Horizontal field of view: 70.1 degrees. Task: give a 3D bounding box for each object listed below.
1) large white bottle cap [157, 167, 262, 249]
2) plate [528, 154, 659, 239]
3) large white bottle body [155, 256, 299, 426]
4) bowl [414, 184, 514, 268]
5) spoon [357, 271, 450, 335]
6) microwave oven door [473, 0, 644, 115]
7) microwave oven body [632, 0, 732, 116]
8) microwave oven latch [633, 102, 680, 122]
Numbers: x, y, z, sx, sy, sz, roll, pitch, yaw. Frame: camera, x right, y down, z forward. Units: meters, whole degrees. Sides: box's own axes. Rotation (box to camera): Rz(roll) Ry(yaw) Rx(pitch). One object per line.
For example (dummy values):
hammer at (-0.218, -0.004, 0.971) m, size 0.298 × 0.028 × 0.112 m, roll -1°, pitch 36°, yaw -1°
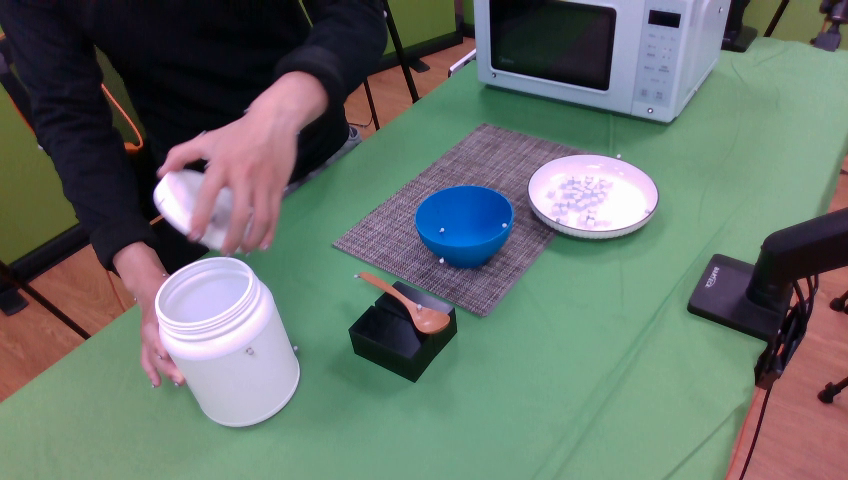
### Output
large white bottle cap at (-0.227, -0.035, 0.646) m, size 0.018 × 0.116 × 0.114 m, roll -49°, pitch 40°, yaw 15°
plate at (0.274, -0.069, 0.993) m, size 0.209 × 0.038 × 0.208 m, roll -2°, pitch 42°, yaw 2°
large white bottle body at (-0.236, 0.122, 0.732) m, size 0.130 × 0.185 × 0.130 m, roll -4°, pitch 40°, yaw 4°
bowl at (0.063, -0.010, 0.923) m, size 0.151 × 0.077 × 0.150 m, roll -4°, pitch 40°, yaw 4°
spoon at (-0.033, 0.078, 0.812) m, size 0.042 × 0.022 × 0.192 m, roll -37°, pitch 43°, yaw -22°
microwave oven door at (0.257, -0.396, 1.199) m, size 0.353 × 0.245 × 0.039 m, roll 21°, pitch 48°, yaw 29°
microwave oven body at (0.377, -0.462, 1.267) m, size 0.438 × 0.261 × 0.327 m, roll 21°, pitch 48°, yaw 30°
microwave oven latch at (0.444, -0.249, 1.157) m, size 0.078 × 0.029 × 0.030 m, roll 21°, pitch 49°, yaw 30°
